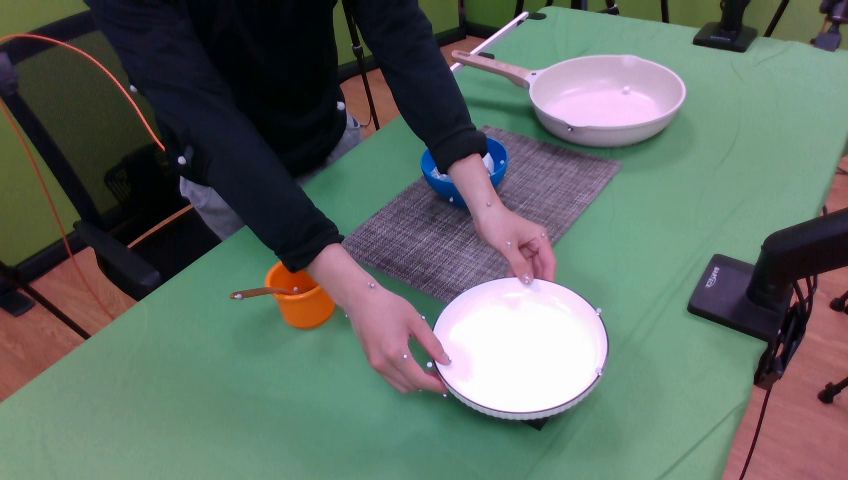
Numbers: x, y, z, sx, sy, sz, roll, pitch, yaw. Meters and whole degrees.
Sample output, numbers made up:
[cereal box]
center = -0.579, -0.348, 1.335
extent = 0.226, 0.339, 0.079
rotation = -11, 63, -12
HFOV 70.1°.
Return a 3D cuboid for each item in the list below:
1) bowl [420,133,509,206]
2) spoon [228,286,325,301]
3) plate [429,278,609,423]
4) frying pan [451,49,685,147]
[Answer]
[bowl]
center = 0.071, -0.112, 1.038
extent = 0.151, 0.077, 0.150
rotation = -4, 41, 4
[spoon]
center = -0.197, 0.071, 0.816
extent = 0.041, 0.195, 0.021
rotation = 13, 89, 24
[plate]
center = 0.111, 0.129, 0.716
extent = 0.207, 0.039, 0.206
rotation = -5, 40, 5
[frying pan]
center = 0.269, -0.316, 1.233
extent = 0.485, 0.103, 0.307
rotation = 26, 49, 21
